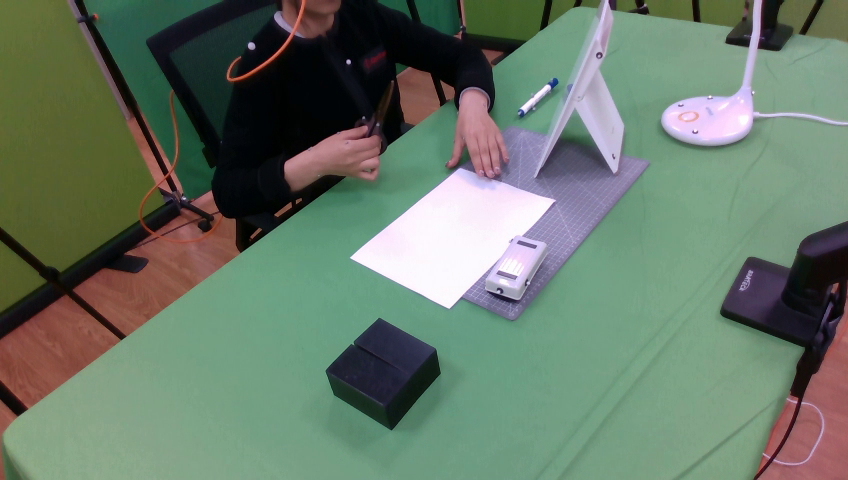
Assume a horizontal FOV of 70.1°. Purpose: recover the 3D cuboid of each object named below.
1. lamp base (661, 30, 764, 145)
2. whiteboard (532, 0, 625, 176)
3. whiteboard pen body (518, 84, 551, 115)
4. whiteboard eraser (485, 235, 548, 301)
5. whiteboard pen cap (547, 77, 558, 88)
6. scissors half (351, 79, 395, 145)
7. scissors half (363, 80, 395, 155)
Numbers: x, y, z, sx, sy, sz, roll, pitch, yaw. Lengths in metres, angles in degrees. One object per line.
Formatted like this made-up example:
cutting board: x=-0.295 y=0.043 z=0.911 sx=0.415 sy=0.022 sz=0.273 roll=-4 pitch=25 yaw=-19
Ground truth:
lamp base: x=0.535 y=-0.287 z=1.096 sx=0.179 sy=0.181 sz=0.159 roll=-10 pitch=40 yaw=-4
whiteboard: x=0.320 y=-0.259 z=1.050 sx=0.144 sy=0.306 sz=0.217 roll=21 pitch=45 yaw=5
whiteboard pen body: x=0.242 y=-0.306 z=1.290 sx=0.017 sy=0.017 sz=0.141 roll=24 pitch=52 yaw=33
whiteboard eraser: x=0.137 y=0.042 z=0.887 sx=0.055 sy=0.042 sz=0.113 roll=15 pitch=46 yaw=27
whiteboard pen cap: x=0.279 y=-0.341 z=1.321 sx=0.018 sy=0.018 sz=0.033 roll=22 pitch=52 yaw=31
scissors half: x=-0.088 y=-0.221 z=1.041 sx=0.040 sy=0.174 sz=0.013 roll=48 pitch=51 yaw=-1
scissors half: x=-0.073 y=-0.207 z=1.040 sx=0.040 sy=0.175 sz=0.013 roll=34 pitch=51 yaw=8
